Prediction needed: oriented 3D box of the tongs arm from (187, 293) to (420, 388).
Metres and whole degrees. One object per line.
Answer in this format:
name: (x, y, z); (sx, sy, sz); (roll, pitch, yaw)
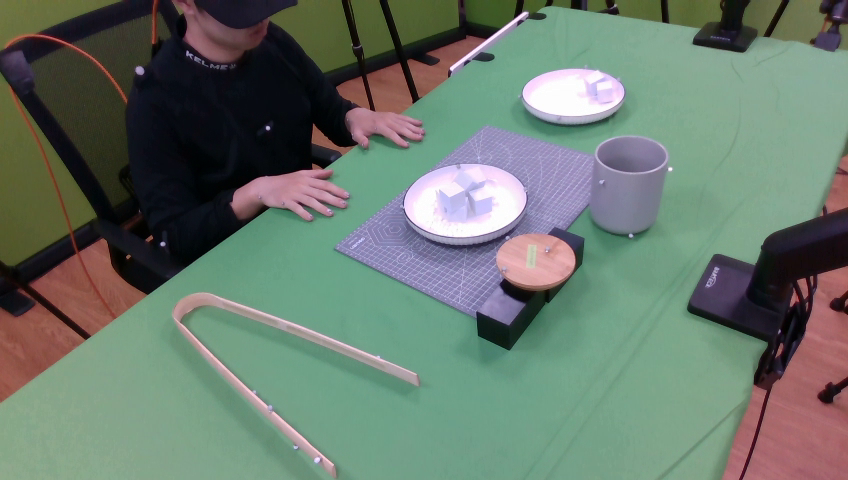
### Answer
tongs arm: (-0.176, 0.134, 0.836); (0.385, 0.028, 0.028); (15, 47, 24)

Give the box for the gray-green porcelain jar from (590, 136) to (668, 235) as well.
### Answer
gray-green porcelain jar: (0.314, -0.080, 0.937); (0.106, 0.127, 0.105); (-4, 41, 4)

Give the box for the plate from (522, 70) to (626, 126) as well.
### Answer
plate: (0.308, -0.290, 1.251); (0.207, 0.039, 0.206); (-4, 40, 4)

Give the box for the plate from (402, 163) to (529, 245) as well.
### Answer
plate: (0.069, -0.056, 1.008); (0.209, 0.038, 0.208); (-4, 40, 4)

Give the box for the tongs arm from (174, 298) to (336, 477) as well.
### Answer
tongs arm: (-0.226, 0.176, 0.786); (0.381, 0.026, 0.051); (26, 49, 34)

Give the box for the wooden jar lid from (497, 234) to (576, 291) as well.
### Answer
wooden jar lid: (0.155, 0.032, 0.834); (0.108, 0.021, 0.108); (-5, 40, 5)
